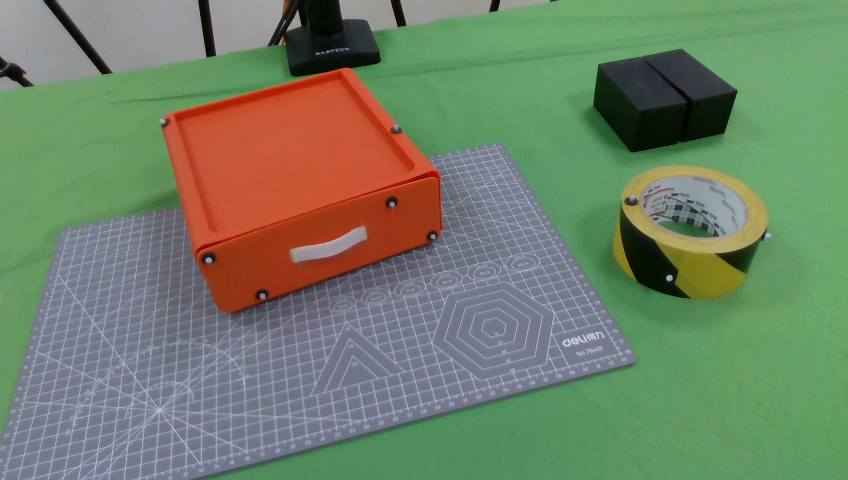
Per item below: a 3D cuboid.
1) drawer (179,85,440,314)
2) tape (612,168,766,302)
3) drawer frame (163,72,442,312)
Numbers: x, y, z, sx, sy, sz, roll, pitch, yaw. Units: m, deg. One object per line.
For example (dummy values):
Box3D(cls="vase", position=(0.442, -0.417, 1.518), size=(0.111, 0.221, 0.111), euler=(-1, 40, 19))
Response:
Box3D(cls="drawer", position=(-0.115, -0.052, 0.557), size=(0.195, 0.074, 0.209), euler=(-20, 44, -15))
Box3D(cls="tape", position=(0.216, -0.008, 0.504), size=(0.117, 0.053, 0.115), euler=(-2, 43, 2))
Box3D(cls="drawer frame", position=(-0.118, -0.057, 0.560), size=(0.202, 0.083, 0.211), euler=(-21, 44, -16))
